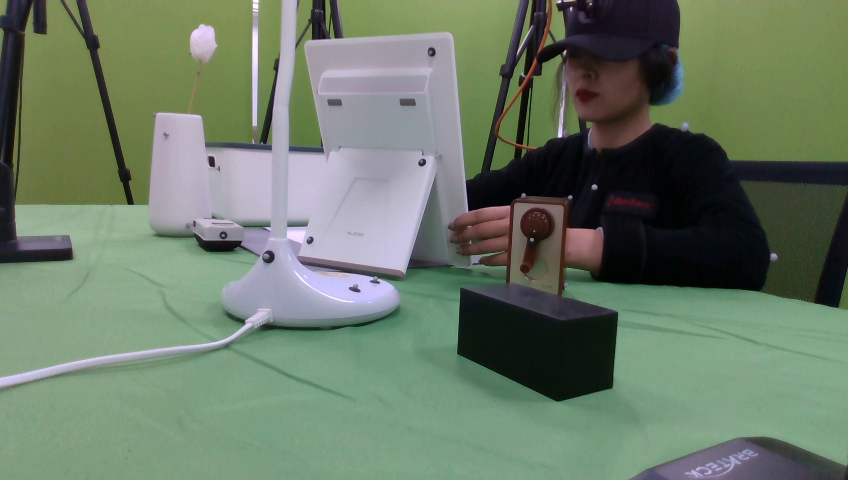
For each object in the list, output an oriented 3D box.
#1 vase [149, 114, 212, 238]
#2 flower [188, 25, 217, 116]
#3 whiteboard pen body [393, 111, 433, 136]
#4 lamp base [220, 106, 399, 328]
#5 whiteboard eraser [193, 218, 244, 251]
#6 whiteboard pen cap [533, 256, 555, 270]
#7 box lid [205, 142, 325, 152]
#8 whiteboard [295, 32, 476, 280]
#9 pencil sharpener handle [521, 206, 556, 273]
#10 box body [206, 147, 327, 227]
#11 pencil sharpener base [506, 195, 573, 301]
[{"bbox_3d":[-0.405,-0.106,1.005,0.098,0.200,0.098,2,6,0],"label":"vase"},{"bbox_3d":[-0.394,-0.189,1.011,0.044,0.361,0.038,-1,-13,27],"label":"flower"},{"bbox_3d":[-0.015,-0.163,0.840,0.017,0.017,0.141,5,2,19],"label":"whiteboard pen body"},{"bbox_3d":[-0.101,-0.023,0.531,0.160,0.180,0.179,4,10,10],"label":"lamp base"},{"bbox_3d":[-0.307,-0.009,0.900,0.056,0.042,0.112,-3,10,-29],"label":"whiteboard eraser"},{"bbox_3d":[0.166,0.032,0.839,0.018,0.018,0.033,-1,4,-24],"label":"whiteboard pen cap"},{"bbox_3d":[-0.270,-0.196,1.310,0.373,0.015,0.262,-2,9,-30],"label":"box lid"},{"bbox_3d":[-0.076,-0.084,0.747,0.216,0.305,0.144,7,28,29],"label":"whiteboard"},{"bbox_3d":[0.111,0.000,0.612,0.036,0.067,0.031,13,10,14],"label":"pencil sharpener handle"},{"bbox_3d":[-0.276,-0.122,1.320,0.366,0.160,0.253,-2,9,-30],"label":"box body"},{"bbox_3d":[0.127,0.007,0.662,0.061,0.107,0.077,5,8,15],"label":"pencil sharpener base"}]
